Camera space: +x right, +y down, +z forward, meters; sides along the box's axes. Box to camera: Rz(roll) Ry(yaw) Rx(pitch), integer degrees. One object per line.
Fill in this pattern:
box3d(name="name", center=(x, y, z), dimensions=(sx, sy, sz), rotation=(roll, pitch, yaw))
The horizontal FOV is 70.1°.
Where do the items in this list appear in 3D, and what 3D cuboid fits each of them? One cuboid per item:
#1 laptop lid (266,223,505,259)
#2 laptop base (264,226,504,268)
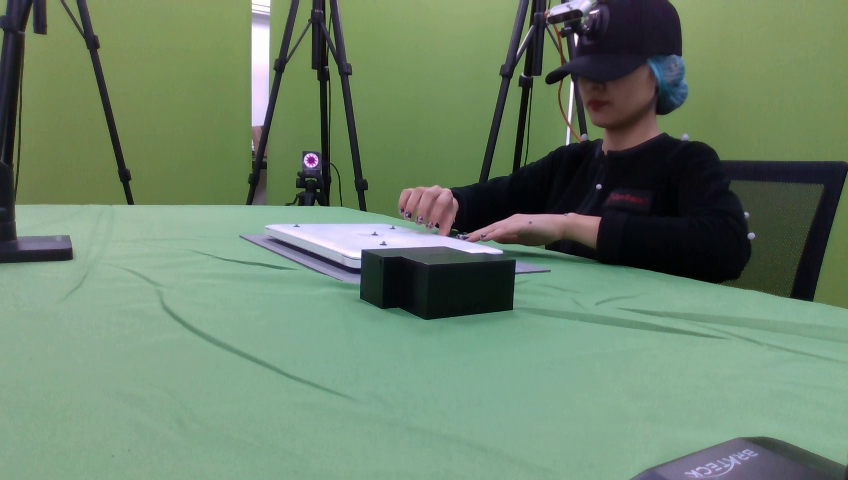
box3d(name="laptop lid", center=(-0.074, -0.005, 0.914), dimensions=(0.243, 0.013, 0.355), rotation=(-1, 8, -31))
box3d(name="laptop base", center=(-0.077, 0.009, 0.914), dimensions=(0.237, 0.023, 0.352), rotation=(2, 6, -33))
